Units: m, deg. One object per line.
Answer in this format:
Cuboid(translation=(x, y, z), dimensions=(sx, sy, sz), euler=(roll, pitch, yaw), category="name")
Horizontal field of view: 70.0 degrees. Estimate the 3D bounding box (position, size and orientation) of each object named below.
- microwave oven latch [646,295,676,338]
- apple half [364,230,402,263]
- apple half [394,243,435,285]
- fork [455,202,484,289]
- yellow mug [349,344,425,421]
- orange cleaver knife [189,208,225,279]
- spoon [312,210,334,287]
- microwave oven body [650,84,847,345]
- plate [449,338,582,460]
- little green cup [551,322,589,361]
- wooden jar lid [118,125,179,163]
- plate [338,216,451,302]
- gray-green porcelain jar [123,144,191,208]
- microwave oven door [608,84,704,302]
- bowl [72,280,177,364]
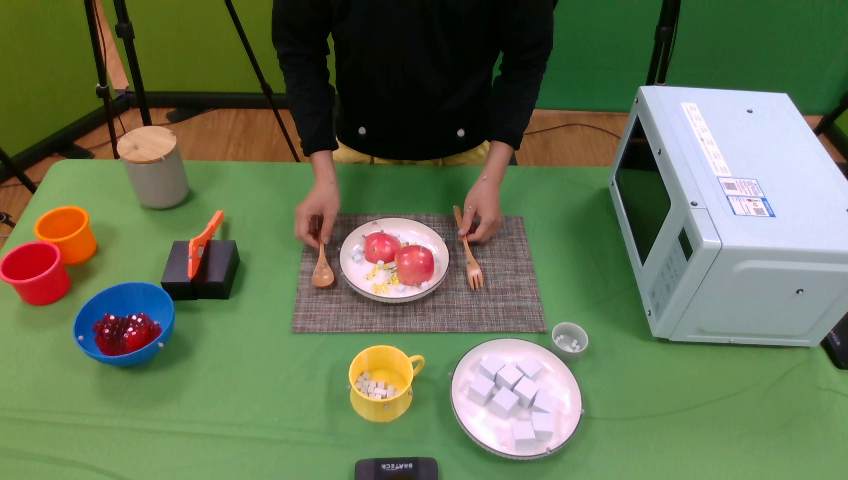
Cuboid(translation=(0.413, 0.133, 1.060), dimensions=(0.030, 0.029, 0.078), euler=(4, 46, 1), category="microwave oven latch")
Cuboid(translation=(-0.079, 0.005, 1.159), dimensions=(0.081, 0.033, 0.081), euler=(3, 49, -3), category="apple half")
Cuboid(translation=(-0.016, 0.037, 1.120), dimensions=(0.075, 0.053, 0.080), euler=(1, 46, -6), category="apple half")
Cuboid(translation=(0.084, 0.006, 1.168), dimensions=(0.028, 0.019, 0.206), euler=(-29, 54, 23), category="fork")
Cuboid(translation=(-0.054, 0.217, 0.954), dimensions=(0.131, 0.064, 0.099), euler=(-24, 53, -25), category="yellow mug")
Cuboid(translation=(-0.400, 0.002, 1.122), dimensions=(0.012, 0.077, 0.210), euler=(4, 23, -4), category="orange cleaver knife")
Cuboid(translation=(-0.194, 0.013, 1.154), dimensions=(0.041, 0.022, 0.192), euler=(-10, 54, 1), category="spoon")
Cuboid(translation=(0.569, -0.054, 1.116), dimensions=(0.326, 0.261, 0.439), euler=(2, 46, -1), category="microwave oven body")
Cuboid(translation=(0.141, 0.251, 0.956), dimensions=(0.208, 0.039, 0.206), euler=(2, 47, -2), category="plate")
Cuboid(translation=(0.247, 0.175, 1.033), dimensions=(0.061, 0.039, 0.061), euler=(2, 45, -2), category="little green cup")
Cuboid(translation=(-0.528, -0.181, 1.167), dimensions=(0.108, 0.021, 0.107), euler=(4, 48, -4), category="wooden jar lid")
Cuboid(translation=(-0.054, 0.038, 1.137), dimensions=(0.209, 0.038, 0.208), euler=(2, 46, -2), category="plate")
Cuboid(translation=(-0.531, -0.137, 1.213), dimensions=(0.106, 0.127, 0.105), euler=(2, 47, -2), category="gray-green porcelain jar")
Cuboid(translation=(0.424, -0.096, 1.138), dimensions=(0.039, 0.245, 0.353), euler=(2, 47, -1), category="microwave oven door")
Cuboid(translation=(-0.472, 0.147, 0.982), dimensions=(0.151, 0.077, 0.150), euler=(2, 46, -2), category="bowl")
